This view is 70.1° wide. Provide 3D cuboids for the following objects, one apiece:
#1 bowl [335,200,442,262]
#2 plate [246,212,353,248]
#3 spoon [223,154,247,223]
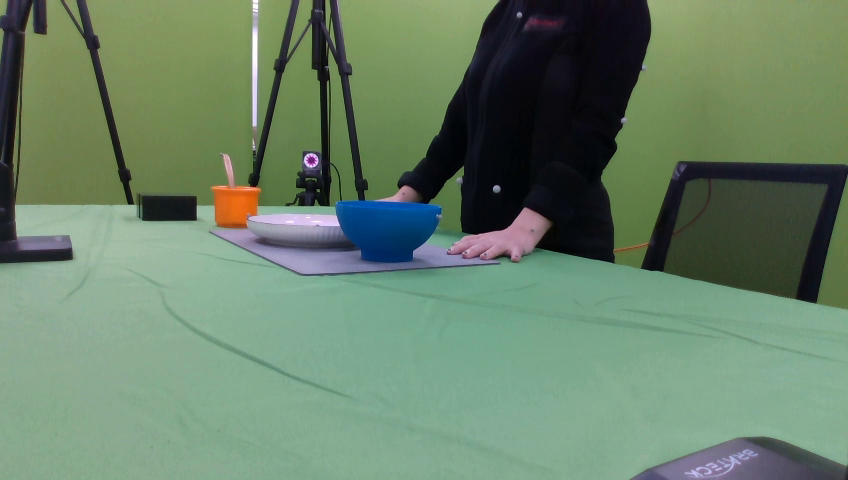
[{"bbox_3d":[-0.051,-0.013,0.848,0.151,0.077,0.151,3,7,0],"label":"bowl"},{"bbox_3d":[-0.184,-0.017,0.995,0.209,0.038,0.209,3,8,0],"label":"plate"},{"bbox_3d":[-0.381,-0.104,1.202,0.042,0.193,0.021,0,-37,-27],"label":"spoon"}]
